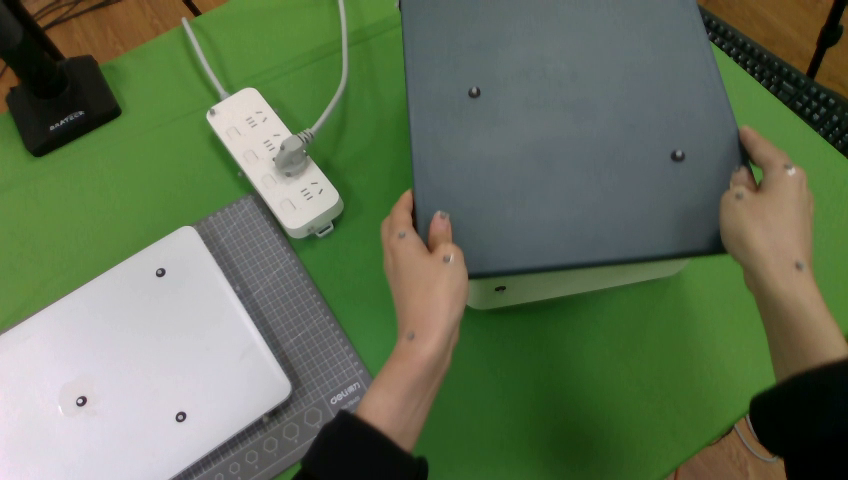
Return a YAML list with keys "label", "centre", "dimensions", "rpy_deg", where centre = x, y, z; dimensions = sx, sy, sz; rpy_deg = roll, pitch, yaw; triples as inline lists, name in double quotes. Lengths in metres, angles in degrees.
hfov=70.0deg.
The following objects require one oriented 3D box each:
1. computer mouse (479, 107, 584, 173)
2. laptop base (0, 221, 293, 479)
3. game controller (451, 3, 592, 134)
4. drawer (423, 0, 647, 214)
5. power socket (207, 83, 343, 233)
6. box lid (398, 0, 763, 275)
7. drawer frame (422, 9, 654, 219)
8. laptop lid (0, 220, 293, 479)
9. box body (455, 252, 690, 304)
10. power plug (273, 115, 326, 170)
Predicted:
- label: "computer mouse"
  centre: [0.120, -0.113, 0.679]
  dimensions: [0.117, 0.041, 0.062]
  rpy_deg: [-6, 72, 4]
- label: "laptop base"
  centre: [-0.337, 0.158, 0.616]
  dimensions: [0.354, 0.023, 0.234]
  rpy_deg: [-34, 72, -12]
- label: "game controller"
  centre: [0.106, -0.194, 0.653]
  dimensions: [0.097, 0.052, 0.154]
  rpy_deg: [-42, 66, -6]
- label: "drawer"
  centre: [0.114, -0.150, 0.672]
  dimensions: [0.194, 0.074, 0.210]
  rpy_deg: [-12, 70, 0]
- label: "power socket"
  centre: [-0.178, -0.100, 0.716]
  dimensions: [0.072, 0.033, 0.225]
  rpy_deg: [-34, 68, -13]
- label: "box lid"
  centre: [0.113, -0.153, 0.522]
  dimensions: [0.263, 0.015, 0.368]
  rpy_deg: [-6, 67, 2]
- label: "drawer frame"
  centre: [0.116, -0.144, 0.681]
  dimensions: [0.202, 0.083, 0.211]
  rpy_deg: [-12, 61, -4]
- label: "laptop lid"
  centre: [-0.336, 0.155, 0.604]
  dimensions: [0.357, 0.013, 0.240]
  rpy_deg: [-32, 70, -11]
- label: "box body"
  centre: [0.124, -0.132, 0.640]
  dimensions: [0.254, 0.161, 0.361]
  rpy_deg: [-11, 65, -1]
- label: "power plug"
  centre: [-0.136, -0.103, 0.689]
  dimensions: [0.072, 0.053, 0.035]
  rpy_deg: [-23, 65, -9]
